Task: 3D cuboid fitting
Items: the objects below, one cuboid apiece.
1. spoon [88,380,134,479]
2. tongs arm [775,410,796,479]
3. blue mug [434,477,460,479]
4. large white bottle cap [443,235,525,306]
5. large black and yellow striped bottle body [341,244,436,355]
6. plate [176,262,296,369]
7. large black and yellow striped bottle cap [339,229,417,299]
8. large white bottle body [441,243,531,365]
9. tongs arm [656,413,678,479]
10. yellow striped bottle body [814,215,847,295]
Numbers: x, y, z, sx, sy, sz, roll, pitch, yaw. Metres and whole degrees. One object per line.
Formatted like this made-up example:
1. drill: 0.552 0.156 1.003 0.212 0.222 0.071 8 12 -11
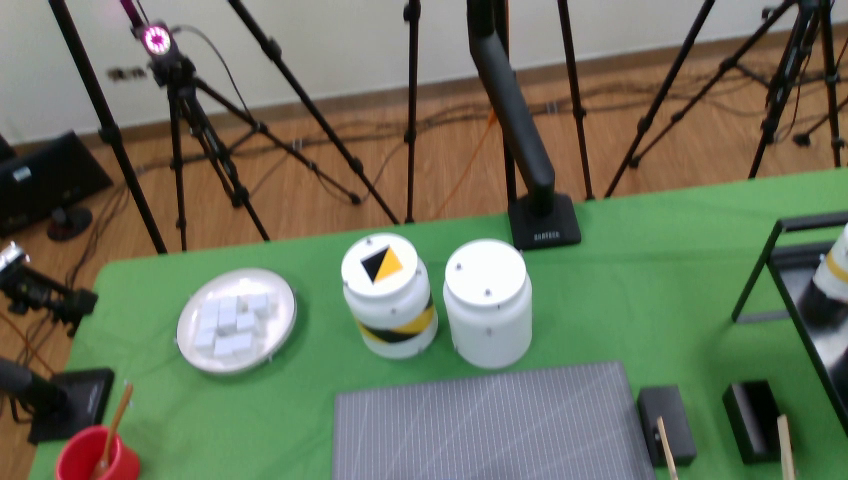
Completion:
1. spoon: -0.458 0.290 0.888 0.041 0.022 0.194 32 108 32
2. tongs arm: 0.428 0.392 0.704 0.028 0.028 0.384 7 64 7
3. blue mug: 0.051 0.357 0.772 0.116 0.107 0.081 -7 52 4
4. large white bottle cap: 0.084 0.041 0.851 0.115 0.018 0.113 -4 52 6
5. large black and yellow striped bottle body: -0.055 0.085 0.950 0.130 0.186 0.129 -5 52 6
6. plate: -0.322 0.133 1.052 0.207 0.039 0.205 -5 53 6
7. large black and yellow striped bottle cap: -0.067 0.033 0.885 0.115 0.019 0.114 -4 53 5
8. large white bottle body: 0.096 0.093 0.918 0.130 0.186 0.129 -5 53 6
9. tongs arm: 0.346 0.397 0.714 0.051 0.027 0.381 -6 62 4
10. yellow striped bottle body: 0.520 0.009 0.721 0.063 0.121 0.062 -5 52 6
